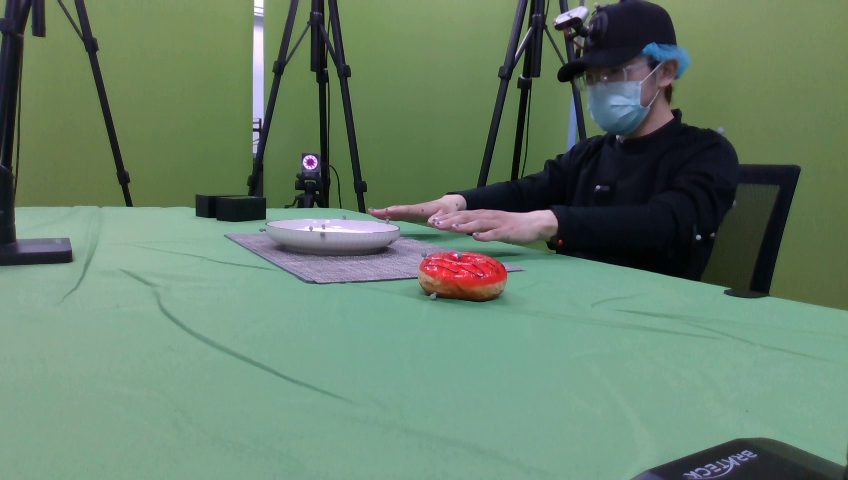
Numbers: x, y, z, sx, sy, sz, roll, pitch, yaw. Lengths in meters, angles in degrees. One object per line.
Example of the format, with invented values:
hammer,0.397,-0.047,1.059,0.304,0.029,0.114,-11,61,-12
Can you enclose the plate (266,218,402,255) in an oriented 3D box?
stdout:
plate,-0.138,-0.006,0.941,0.208,0.039,0.207,2,7,0

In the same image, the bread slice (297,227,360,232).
bread slice,-0.142,-0.004,0.939,0.131,0.019,0.105,8,9,33

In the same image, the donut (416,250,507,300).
donut,0.040,0.038,0.650,0.099,0.048,0.099,4,9,0
